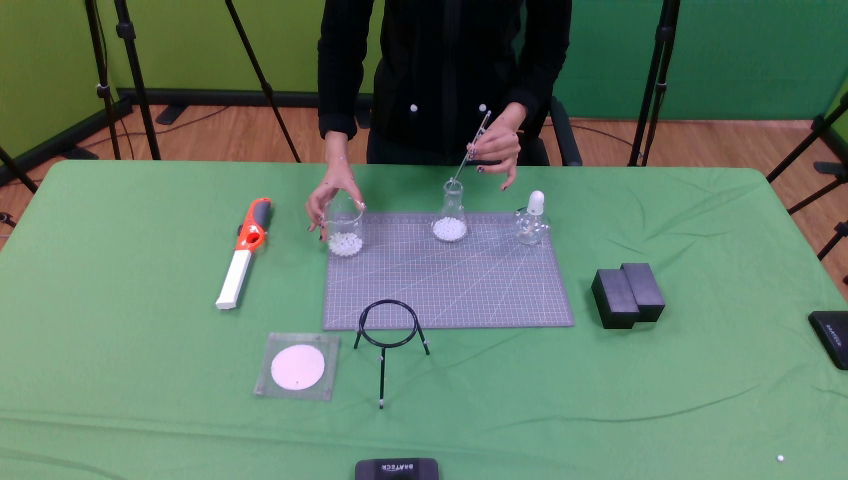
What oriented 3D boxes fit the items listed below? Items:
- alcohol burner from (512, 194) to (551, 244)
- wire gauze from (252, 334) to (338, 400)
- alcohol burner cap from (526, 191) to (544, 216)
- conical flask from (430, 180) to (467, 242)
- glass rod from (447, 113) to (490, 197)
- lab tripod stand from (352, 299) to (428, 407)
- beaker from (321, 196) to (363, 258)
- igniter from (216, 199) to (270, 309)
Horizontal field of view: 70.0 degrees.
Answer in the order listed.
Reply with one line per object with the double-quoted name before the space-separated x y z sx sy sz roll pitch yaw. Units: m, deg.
"alcohol burner" 0.215 -0.048 1.196 0.078 0.119 0.077 4 46 -4
"wire gauze" -0.209 0.204 0.996 0.125 0.011 0.120 3 45 1
"alcohol burner cap" 0.216 -0.073 1.170 0.034 0.048 0.033 0 43 0
"conical flask" 0.052 -0.060 1.189 0.075 0.122 0.075 2 46 -2
"glass rod" 0.078 -0.148 1.092 0.008 0.200 0.008 13 45 -13
"lab tripod stand" -0.056 0.166 0.958 0.148 0.132 0.147 3 44 -2
"beaker" -0.155 -0.020 1.150 0.084 0.101 0.073 -29 54 -27
"igniter" -0.342 0.016 1.153 0.057 0.025 0.275 -3 45 7
